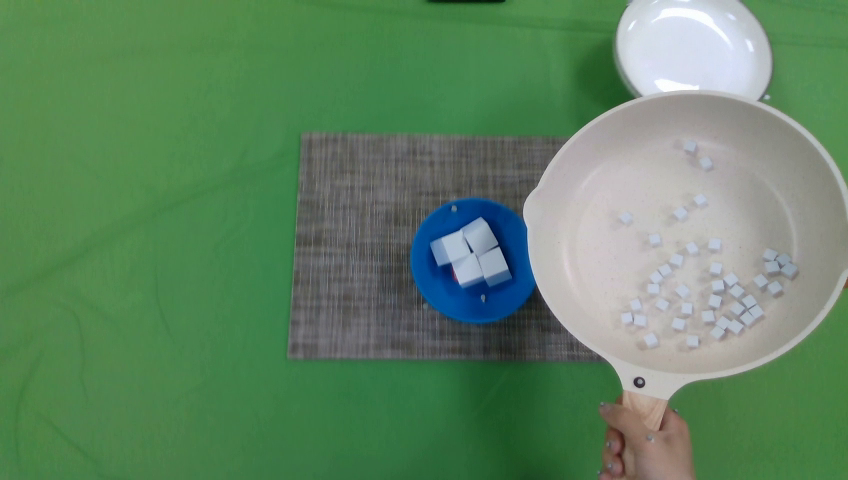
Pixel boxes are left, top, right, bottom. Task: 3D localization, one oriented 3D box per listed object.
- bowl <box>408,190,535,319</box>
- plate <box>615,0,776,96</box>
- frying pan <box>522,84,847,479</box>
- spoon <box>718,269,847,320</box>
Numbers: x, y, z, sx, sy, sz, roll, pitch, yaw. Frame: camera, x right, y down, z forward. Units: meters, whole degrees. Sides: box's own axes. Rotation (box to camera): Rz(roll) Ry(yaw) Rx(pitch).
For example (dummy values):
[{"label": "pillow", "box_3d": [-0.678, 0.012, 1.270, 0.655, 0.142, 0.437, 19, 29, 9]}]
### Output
[{"label": "bowl", "box_3d": [0.055, 0.025, 0.724, 0.151, 0.077, 0.150, 1, 75, -3]}, {"label": "plate", "box_3d": [0.349, -0.248, 0.791, 0.208, 0.039, 0.206, 1, 77, -3]}, {"label": "frying pan", "box_3d": [0.221, 0.082, 0.580, 0.305, 0.104, 0.485, 10, 71, 26]}, {"label": "spoon", "box_3d": [0.445, 0.055, 0.708, 0.022, 0.193, 0.041, 2, 69, -49]}]
